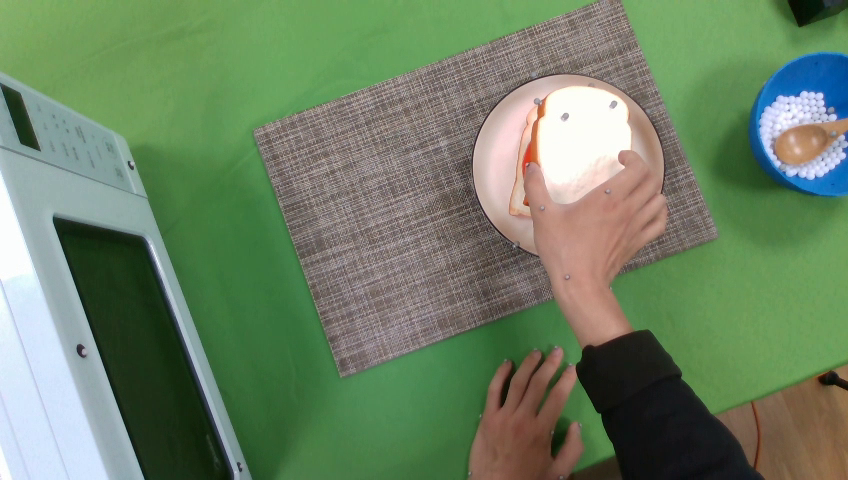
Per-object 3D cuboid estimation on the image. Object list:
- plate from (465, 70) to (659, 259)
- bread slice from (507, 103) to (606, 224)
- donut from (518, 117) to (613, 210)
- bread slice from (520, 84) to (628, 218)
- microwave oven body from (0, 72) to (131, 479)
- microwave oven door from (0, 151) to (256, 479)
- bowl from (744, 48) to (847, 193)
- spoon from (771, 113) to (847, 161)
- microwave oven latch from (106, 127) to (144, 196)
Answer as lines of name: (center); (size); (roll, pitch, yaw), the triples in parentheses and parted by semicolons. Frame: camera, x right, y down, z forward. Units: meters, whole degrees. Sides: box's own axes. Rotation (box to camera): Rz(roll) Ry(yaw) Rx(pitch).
plate: (0.149, -0.080, 0.668); (0.208, 0.039, 0.207); (0, 86, 1)
bread slice: (0.149, -0.088, 0.668); (0.107, 0.018, 0.134); (4, 85, 1)
donut: (0.149, -0.081, 0.640); (0.099, 0.048, 0.099); (0, 86, 1)
bread slice: (0.153, -0.092, 0.602); (0.105, 0.019, 0.131); (7, 80, -5)
microwave oven body: (-0.410, 0.128, 0.552); (0.326, 0.260, 0.440); (-22, 86, -1)
microwave oven door: (-0.259, 0.110, 0.545); (0.039, 0.244, 0.355); (-23, 85, -1)
bowl: (0.408, -0.118, 0.650); (0.151, 0.077, 0.151); (0, 85, 1)
spoon: (0.455, -0.134, 0.618); (0.193, 0.022, 0.041); (-25, 79, 21)
microwave oven latch: (-0.337, -0.082, 0.663); (0.030, 0.029, 0.079); (-22, 86, -1)
